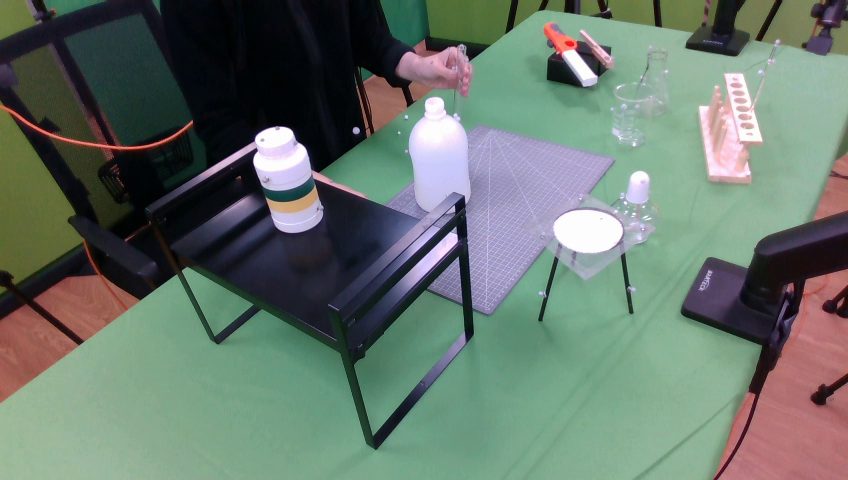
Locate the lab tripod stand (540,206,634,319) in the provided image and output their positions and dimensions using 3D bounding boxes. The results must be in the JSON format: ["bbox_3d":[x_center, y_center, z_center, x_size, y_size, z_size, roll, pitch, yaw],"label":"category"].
[{"bbox_3d":[0.217,0.034,0.821,0.148,0.132,0.147,-4,42,4],"label":"lab tripod stand"}]

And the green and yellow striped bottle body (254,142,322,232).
[{"bbox_3d":[-0.165,-0.073,0.732,0.063,0.120,0.063,-4,41,4],"label":"green and yellow striped bottle body"}]

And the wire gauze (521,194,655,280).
[{"bbox_3d":[0.207,-0.012,0.772,0.122,0.011,0.124,-28,44,-20],"label":"wire gauze"}]

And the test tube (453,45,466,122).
[{"bbox_3d":[0.062,-0.272,1.071,0.017,0.151,0.017,1,43,-1],"label":"test tube"}]

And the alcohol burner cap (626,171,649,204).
[{"bbox_3d":[0.320,-0.081,0.900,0.034,0.048,0.033,-4,42,4],"label":"alcohol burner cap"}]

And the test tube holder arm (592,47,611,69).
[{"bbox_3d":[0.385,-0.398,1.317,0.010,0.015,0.087,-11,41,-2],"label":"test tube holder arm"}]

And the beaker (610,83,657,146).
[{"bbox_3d":[0.388,-0.235,1.138,0.074,0.101,0.083,-31,45,-25],"label":"beaker"}]

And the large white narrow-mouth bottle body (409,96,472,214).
[{"bbox_3d":[0.026,-0.145,1.007,0.102,0.195,0.101,-5,39,5],"label":"large white narrow-mouth bottle body"}]

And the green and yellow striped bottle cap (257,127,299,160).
[{"bbox_3d":[-0.169,-0.112,0.698,0.045,0.020,0.045,-5,40,5],"label":"green and yellow striped bottle cap"}]

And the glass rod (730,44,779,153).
[{"bbox_3d":[0.555,-0.234,1.020,0.008,0.200,0.008,2,40,-1],"label":"glass rod"}]

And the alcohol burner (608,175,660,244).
[{"bbox_3d":[0.322,-0.053,0.924,0.078,0.119,0.077,-4,43,4],"label":"alcohol burner"}]

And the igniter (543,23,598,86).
[{"bbox_3d":[0.320,-0.419,1.345,0.057,0.025,0.274,-12,44,-3],"label":"igniter"}]

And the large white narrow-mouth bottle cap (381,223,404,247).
[{"bbox_3d":[-0.052,-0.008,0.993,0.038,0.024,0.037,-5,39,4],"label":"large white narrow-mouth bottle cap"}]

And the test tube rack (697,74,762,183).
[{"bbox_3d":[0.547,-0.208,1.095,0.066,0.085,0.242,5,42,15],"label":"test tube rack"}]

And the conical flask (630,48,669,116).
[{"bbox_3d":[0.457,-0.317,1.205,0.075,0.122,0.075,-4,41,4],"label":"conical flask"}]

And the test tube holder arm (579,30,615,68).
[{"bbox_3d":[0.383,-0.428,1.351,0.013,0.015,0.177,-11,41,-3],"label":"test tube holder arm"}]
